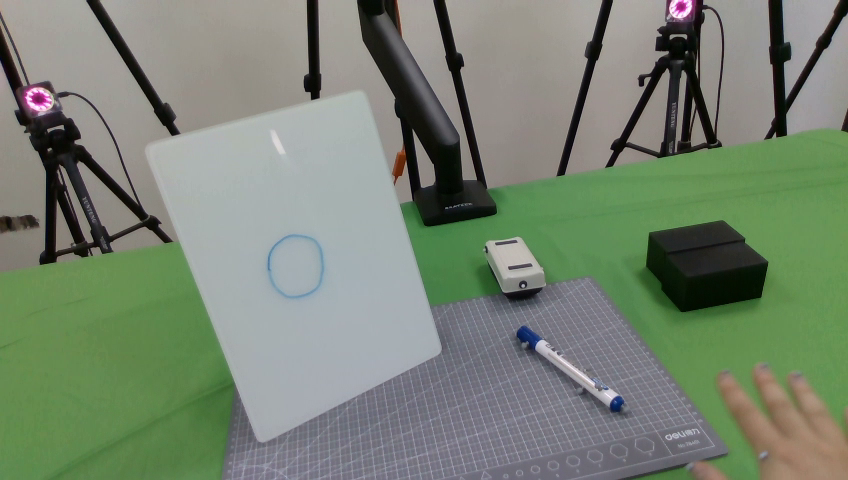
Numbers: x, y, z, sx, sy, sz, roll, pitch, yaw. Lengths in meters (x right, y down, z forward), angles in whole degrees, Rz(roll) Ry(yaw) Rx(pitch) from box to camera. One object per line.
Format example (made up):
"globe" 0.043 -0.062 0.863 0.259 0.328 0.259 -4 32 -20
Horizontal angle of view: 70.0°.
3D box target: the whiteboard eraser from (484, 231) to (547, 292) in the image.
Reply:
"whiteboard eraser" 0.117 0.028 0.788 0.055 0.042 0.111 -11 27 -3

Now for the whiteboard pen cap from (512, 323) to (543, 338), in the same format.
"whiteboard pen cap" 0.116 0.101 0.678 0.033 0.018 0.018 0 31 15

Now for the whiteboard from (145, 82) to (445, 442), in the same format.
"whiteboard" -0.139 0.013 0.660 0.217 0.307 0.143 -22 15 -23

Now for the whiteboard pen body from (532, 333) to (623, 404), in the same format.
"whiteboard pen body" 0.151 0.126 0.633 0.017 0.017 0.139 -22 34 -25
